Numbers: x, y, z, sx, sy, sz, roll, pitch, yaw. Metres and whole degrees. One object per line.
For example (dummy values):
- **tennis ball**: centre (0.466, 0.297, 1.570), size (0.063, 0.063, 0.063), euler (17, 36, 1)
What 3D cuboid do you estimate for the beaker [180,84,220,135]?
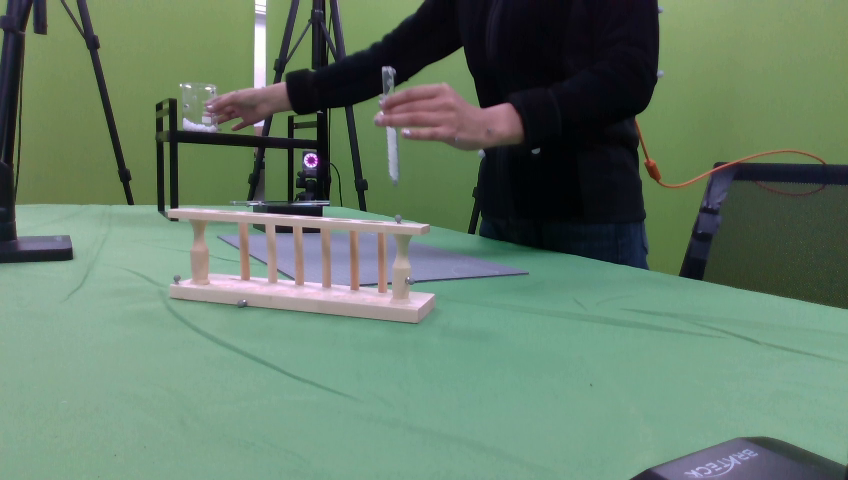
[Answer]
- **beaker**: centre (-0.475, -0.275, 1.281), size (0.073, 0.100, 0.084), euler (6, 9, 35)

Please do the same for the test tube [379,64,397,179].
- **test tube**: centre (-0.048, -0.157, 0.806), size (0.017, 0.150, 0.017), euler (-3, 9, 1)

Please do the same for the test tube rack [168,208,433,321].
- **test tube rack**: centre (-0.116, 0.017, 0.574), size (0.242, 0.085, 0.067), euler (4, 8, 13)

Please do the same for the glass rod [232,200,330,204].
- **glass rod**: centre (-0.265, -0.072, 1.145), size (0.201, 0.008, 0.008), euler (-4, 10, -40)
